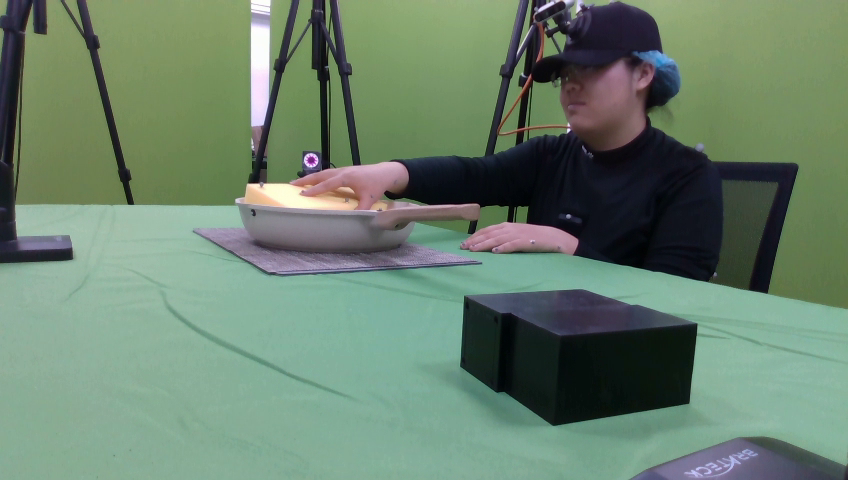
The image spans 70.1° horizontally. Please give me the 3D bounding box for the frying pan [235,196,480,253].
[{"bbox_3d":[-0.090,-0.034,0.891,0.308,0.102,0.485,-4,2,-36],"label":"frying pan"}]

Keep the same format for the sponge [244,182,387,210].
[{"bbox_3d":[-0.177,-0.049,1.002,0.117,0.061,0.208,27,22,36],"label":"sponge"}]
